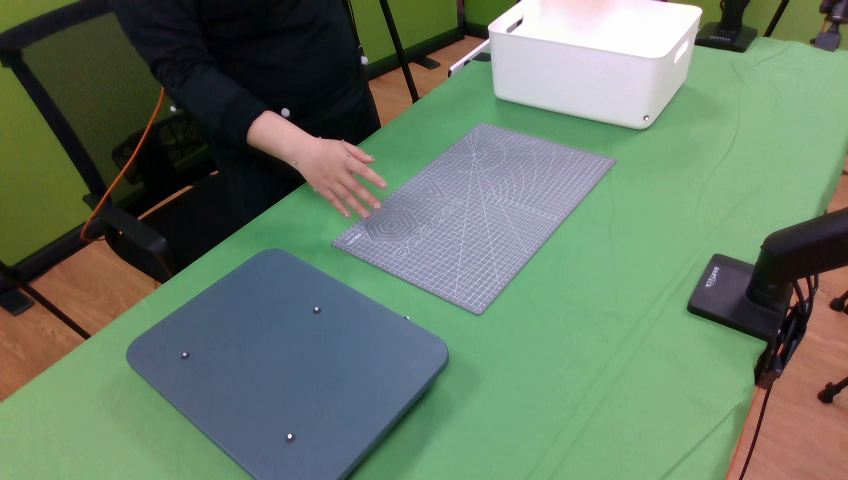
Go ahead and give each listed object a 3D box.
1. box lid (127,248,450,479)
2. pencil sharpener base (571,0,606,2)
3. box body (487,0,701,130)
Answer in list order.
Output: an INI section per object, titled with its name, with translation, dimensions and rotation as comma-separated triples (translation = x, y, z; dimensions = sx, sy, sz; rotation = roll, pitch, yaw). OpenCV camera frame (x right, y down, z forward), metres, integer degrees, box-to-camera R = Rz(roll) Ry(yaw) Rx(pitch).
[box lid]
translation = -0.177, 0.145, 0.768
dimensions = 0.368, 0.015, 0.264
rotation = 24, 50, 32
[pencil sharpener base]
translation = 0.305, -0.496, 1.100
dimensions = 0.076, 0.107, 0.061
rotation = 14, 45, 30
[box body]
translation = 0.345, -0.379, 1.257
dimensions = 0.361, 0.161, 0.255
rotation = 20, 48, 29
